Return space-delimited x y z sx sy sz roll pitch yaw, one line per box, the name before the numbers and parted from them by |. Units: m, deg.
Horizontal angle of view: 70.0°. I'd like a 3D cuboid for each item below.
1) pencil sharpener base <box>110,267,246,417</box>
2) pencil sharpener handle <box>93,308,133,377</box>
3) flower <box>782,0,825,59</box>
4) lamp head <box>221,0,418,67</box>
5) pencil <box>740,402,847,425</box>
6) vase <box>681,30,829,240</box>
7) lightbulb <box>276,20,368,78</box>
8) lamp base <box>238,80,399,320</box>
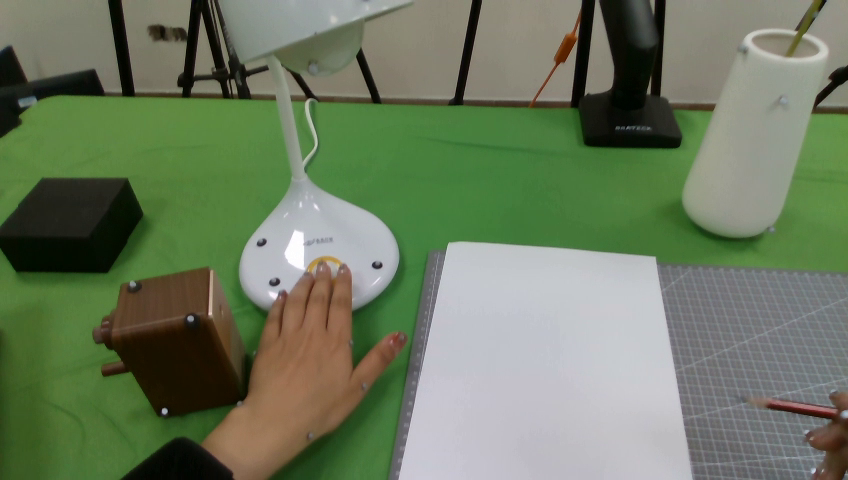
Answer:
pencil sharpener base | -0.192 0.084 0.483 0.077 0.108 0.060 -11 42 -9
pencil sharpener handle | -0.243 0.083 0.467 0.031 0.068 0.035 -11 45 -9
flower | 0.310 -0.146 0.529 0.038 0.365 0.043 -38 64 -16
lamp head | -0.075 -0.173 0.347 0.112 0.123 0.112 -21 15 6
pencil | 0.267 0.099 0.315 0.193 0.012 0.012 -4 30 47
vase | 0.322 -0.097 0.598 0.098 0.202 0.097 -2 40 2
lightbulb | -0.067 -0.149 0.349 0.059 0.108 0.059 -9 18 3
lamp base | -0.114 -0.046 0.572 0.161 0.182 0.177 -18 41 -17
